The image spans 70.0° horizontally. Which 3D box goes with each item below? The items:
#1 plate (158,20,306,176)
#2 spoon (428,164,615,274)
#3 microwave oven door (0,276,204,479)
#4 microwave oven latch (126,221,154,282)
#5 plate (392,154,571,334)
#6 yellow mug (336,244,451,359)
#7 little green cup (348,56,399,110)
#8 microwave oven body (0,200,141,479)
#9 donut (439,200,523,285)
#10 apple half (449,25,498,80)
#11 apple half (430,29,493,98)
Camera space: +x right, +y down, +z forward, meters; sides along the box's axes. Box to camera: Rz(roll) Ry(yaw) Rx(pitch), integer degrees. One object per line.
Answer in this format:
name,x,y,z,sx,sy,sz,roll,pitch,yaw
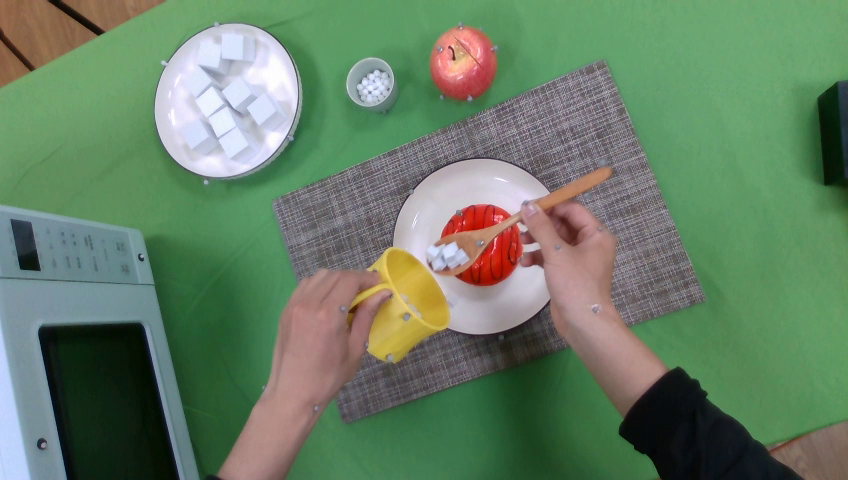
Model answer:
plate,-0.250,-0.184,0.801,0.207,0.039,0.207,-1,85,13
spoon,0.089,-0.021,0.568,0.193,0.022,0.041,-29,67,21
microwave oven door,-0.344,0.216,0.666,0.039,0.245,0.354,-18,81,11
microwave oven latch,-0.381,0.017,0.795,0.030,0.029,0.079,-17,83,10
plate,0.066,0.005,0.711,0.208,0.038,0.208,-1,85,13
yellow mug,-0.036,0.061,0.602,0.064,0.132,0.099,-37,69,22
little green cup,-0.061,-0.194,0.760,0.061,0.039,0.061,-1,85,13
microwave oven body,-0.491,0.221,0.704,0.326,0.261,0.440,-18,82,10
donut,0.065,0.003,0.700,0.099,0.048,0.099,-1,87,13
apple half,0.066,-0.226,0.715,0.033,0.081,0.081,-42,77,10
apple half,0.038,-0.201,0.721,0.053,0.075,0.080,-42,81,11
